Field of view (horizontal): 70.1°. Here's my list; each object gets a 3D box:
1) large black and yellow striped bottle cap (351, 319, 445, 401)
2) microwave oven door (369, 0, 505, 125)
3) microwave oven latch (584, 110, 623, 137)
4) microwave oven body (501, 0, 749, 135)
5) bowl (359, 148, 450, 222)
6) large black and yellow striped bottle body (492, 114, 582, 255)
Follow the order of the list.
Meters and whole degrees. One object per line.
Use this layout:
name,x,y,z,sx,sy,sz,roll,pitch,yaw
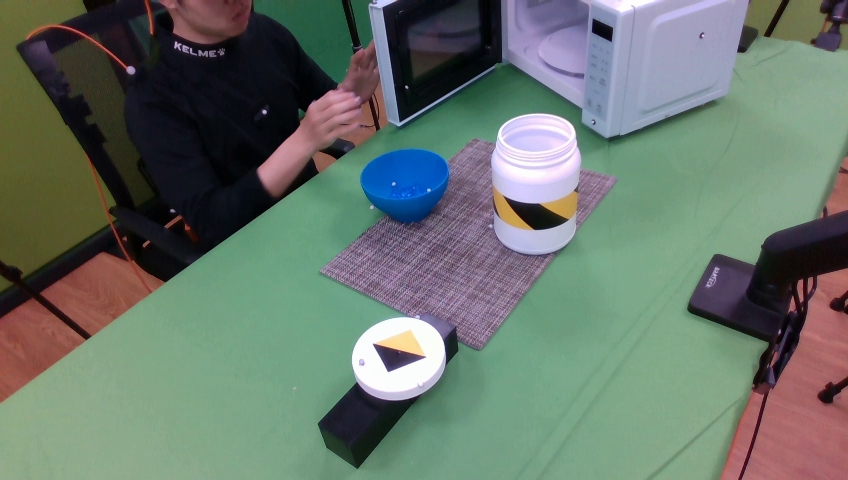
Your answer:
large black and yellow striped bottle cap,-0.031,0.143,0.735,0.115,0.019,0.114,-3,40,3
microwave oven door,0.042,-0.425,1.263,0.039,0.245,0.357,29,52,34
microwave oven latch,0.337,-0.222,1.142,0.030,0.029,0.078,-21,42,-14
microwave oven body,0.382,-0.444,1.246,0.327,0.261,0.437,-22,42,-16
bowl,-0.029,-0.083,1.022,0.151,0.077,0.150,-4,40,4
large black and yellow striped bottle body,0.169,-0.083,0.912,0.131,0.185,0.130,-4,41,4
